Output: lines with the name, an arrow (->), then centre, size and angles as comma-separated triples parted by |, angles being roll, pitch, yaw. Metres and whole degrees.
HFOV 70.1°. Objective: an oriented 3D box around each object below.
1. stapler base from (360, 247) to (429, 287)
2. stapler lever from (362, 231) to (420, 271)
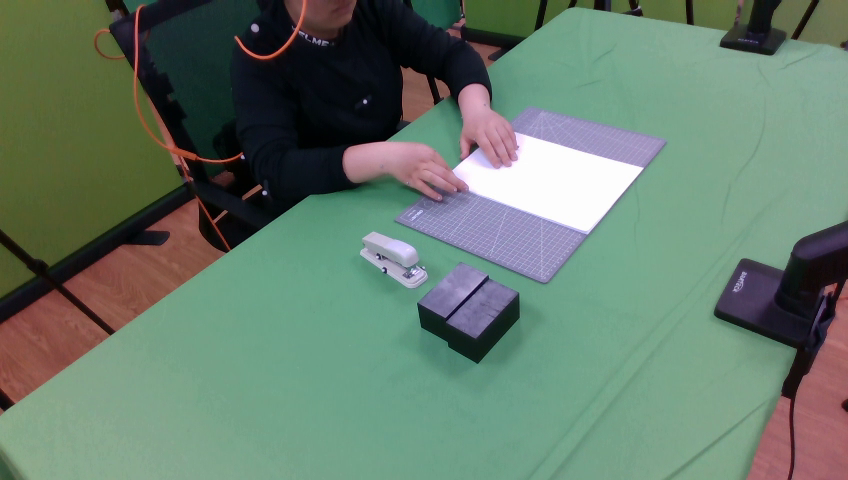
stapler base -> -0.048, 0.031, 0.949 | 0.041, 0.024, 0.129 | -34, 45, -31
stapler lever -> -0.052, 0.011, 0.933 | 0.027, 0.040, 0.117 | -34, 45, -31
